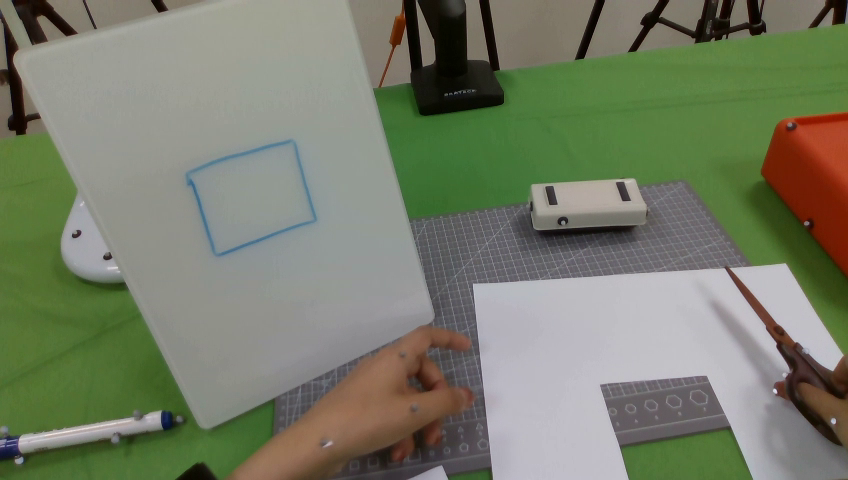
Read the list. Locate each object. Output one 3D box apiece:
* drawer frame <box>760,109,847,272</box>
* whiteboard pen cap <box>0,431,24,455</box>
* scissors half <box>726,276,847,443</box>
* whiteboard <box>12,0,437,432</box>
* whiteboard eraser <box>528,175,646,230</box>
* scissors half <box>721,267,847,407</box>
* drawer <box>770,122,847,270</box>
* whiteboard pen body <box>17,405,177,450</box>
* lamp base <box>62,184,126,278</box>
[{"bbox_3d":[0.475,-0.043,0.576,0.202,0.083,0.211,-8,42,-1],"label":"drawer frame"},{"bbox_3d":[-0.331,0.160,0.477,0.033,0.018,0.018,-7,42,-11],"label":"whiteboard pen cap"},{"bbox_3d":[0.278,0.081,0.479,0.040,0.013,0.173,6,39,-10],"label":"scissors half"},{"bbox_3d":[-0.145,-0.040,0.515,0.217,0.308,0.142,-23,26,-17],"label":"whiteboard"},{"bbox_3d":[0.167,-0.037,0.628,0.112,0.042,0.055,-4,41,2],"label":"whiteboard eraser"},{"bbox_3d":[0.297,0.081,0.485,0.040,0.013,0.173,-2,42,-27],"label":"scissors half"},{"bbox_3d":[0.476,-0.038,0.571,0.194,0.074,0.209,-7,42,0],"label":"drawer"},{"bbox_3d":[-0.272,0.152,0.485,0.141,0.017,0.017,-8,42,-8],"label":"whiteboard pen body"},{"bbox_3d":[-0.331,-0.078,0.625,0.178,0.182,0.160,20,48,29],"label":"lamp base"}]
